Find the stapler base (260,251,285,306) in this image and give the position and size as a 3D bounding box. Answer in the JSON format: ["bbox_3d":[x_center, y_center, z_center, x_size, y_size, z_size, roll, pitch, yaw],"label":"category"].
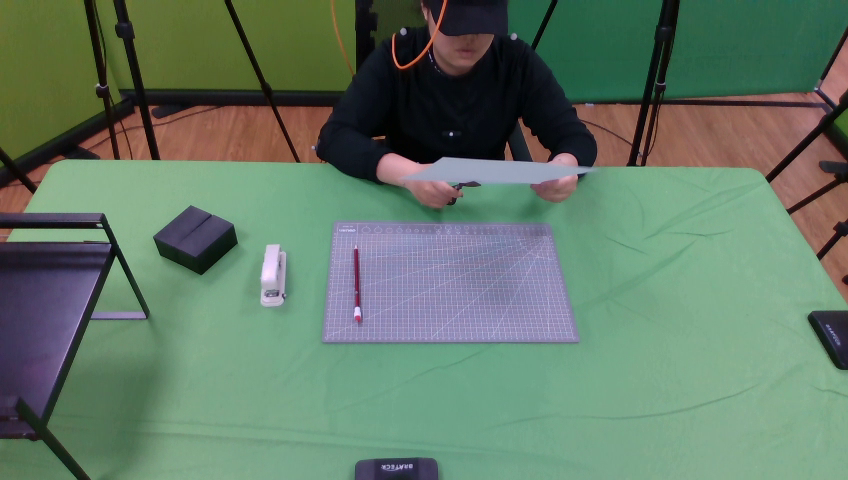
[{"bbox_3d":[-0.279,0.064,1.113,0.041,0.024,0.129,-2,44,-9],"label":"stapler base"}]

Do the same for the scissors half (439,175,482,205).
[{"bbox_3d":[0.072,-0.102,1.189,0.013,0.175,0.040,-9,82,-24],"label":"scissors half"}]

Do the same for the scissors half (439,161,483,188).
[{"bbox_3d":[0.071,-0.124,1.187,0.013,0.040,0.174,-4,20,-25],"label":"scissors half"}]

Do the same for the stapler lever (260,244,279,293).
[{"bbox_3d":[-0.279,0.045,1.096,0.027,0.040,0.117,-2,44,-9],"label":"stapler lever"}]

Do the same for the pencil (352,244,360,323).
[{"bbox_3d":[-0.127,0.075,1.119,0.012,0.012,0.192,-3,44,-7],"label":"pencil"}]
